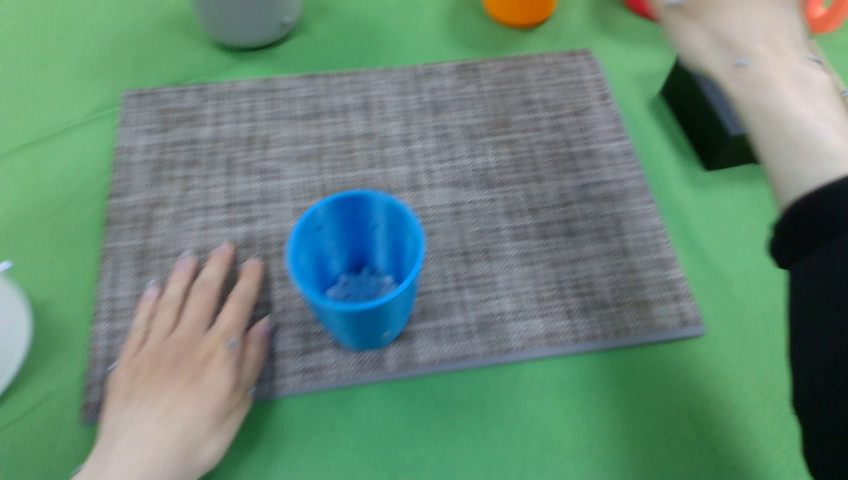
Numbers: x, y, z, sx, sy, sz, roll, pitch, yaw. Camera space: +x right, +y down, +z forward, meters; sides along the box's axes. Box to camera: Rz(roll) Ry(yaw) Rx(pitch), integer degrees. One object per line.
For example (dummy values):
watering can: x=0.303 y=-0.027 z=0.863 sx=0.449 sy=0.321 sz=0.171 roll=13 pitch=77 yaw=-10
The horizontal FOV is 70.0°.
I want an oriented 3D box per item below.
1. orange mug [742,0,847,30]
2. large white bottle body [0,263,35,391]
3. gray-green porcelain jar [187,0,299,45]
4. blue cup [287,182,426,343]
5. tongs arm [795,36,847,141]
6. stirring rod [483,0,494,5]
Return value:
orange mug: x=0.393 y=-0.280 z=0.617 sx=0.083 sy=0.101 sz=0.125 roll=-13 pitch=57 yaw=-10
large white bottle body: x=-0.338 y=0.029 z=0.351 sx=0.131 sy=0.186 sz=0.129 roll=1 pitch=60 yaw=-2
gray-green porcelain jar: x=-0.174 y=-0.256 z=0.559 sx=0.106 sy=0.127 sz=0.105 roll=1 pitch=60 yaw=-2
blue cup: x=-0.041 y=0.025 z=0.413 sx=0.092 sy=0.101 sz=0.092 roll=0 pitch=59 yaw=0
tongs arm: x=0.423 y=-0.030 z=0.511 sx=0.051 sy=0.027 sz=0.381 roll=-4 pitch=61 yaw=-10
stirring rod: x=0.124 y=-0.298 z=0.592 sx=0.176 sy=0.006 sz=0.014 roll=-40 pitch=64 yaw=24
